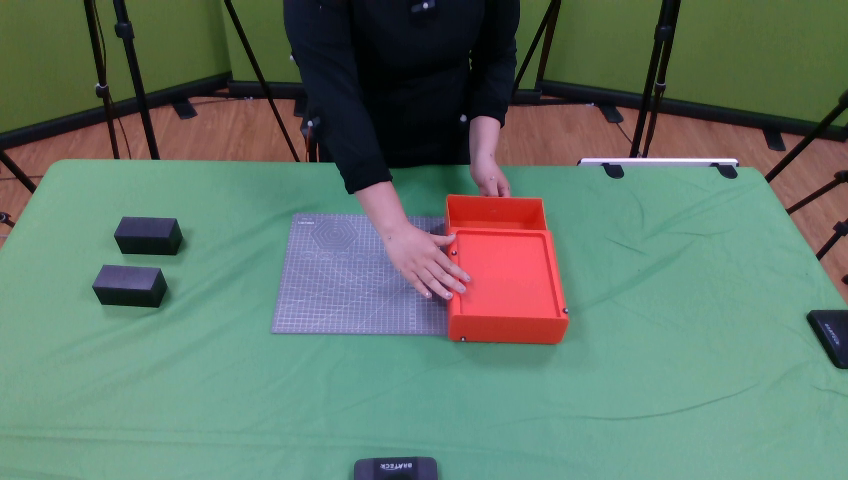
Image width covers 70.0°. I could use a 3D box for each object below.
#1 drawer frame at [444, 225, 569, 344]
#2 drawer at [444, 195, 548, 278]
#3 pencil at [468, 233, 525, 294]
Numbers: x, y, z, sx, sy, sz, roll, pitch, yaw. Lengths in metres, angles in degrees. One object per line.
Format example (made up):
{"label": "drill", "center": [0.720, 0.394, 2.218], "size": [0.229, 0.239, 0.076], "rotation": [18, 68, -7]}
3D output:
{"label": "drawer frame", "center": [0.140, 0.076, 1.089], "size": [0.202, 0.083, 0.212], "rotation": [2, 46, -3]}
{"label": "drawer", "center": [0.140, 0.010, 1.153], "size": [0.195, 0.073, 0.210], "rotation": [3, 46, -4]}
{"label": "pencil", "center": [0.134, 0.041, 1.161], "size": [0.012, 0.012, 0.192], "rotation": [-19, 44, -21]}
